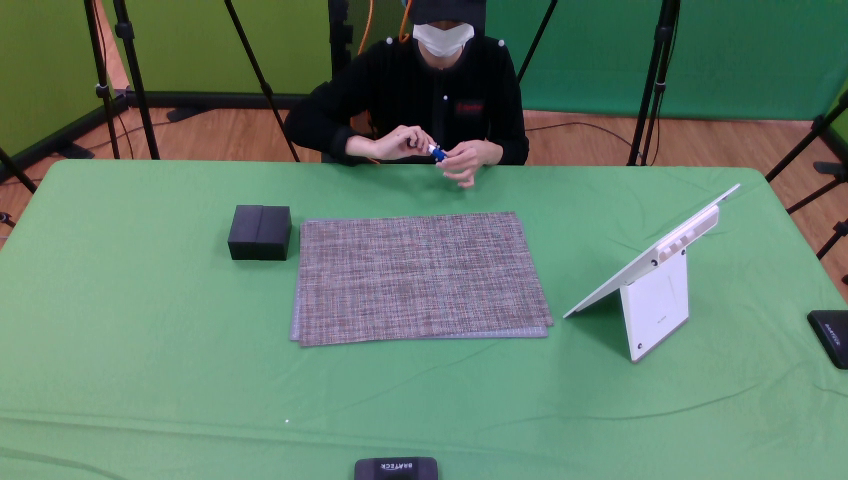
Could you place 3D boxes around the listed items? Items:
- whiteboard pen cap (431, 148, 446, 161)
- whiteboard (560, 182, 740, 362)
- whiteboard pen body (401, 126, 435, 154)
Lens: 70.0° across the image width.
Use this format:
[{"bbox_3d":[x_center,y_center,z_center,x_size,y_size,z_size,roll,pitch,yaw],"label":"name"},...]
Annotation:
[{"bbox_3d":[0.030,-0.181,1.271,0.018,0.018,0.033,-26,47,-26],"label":"whiteboard pen cap"},{"bbox_3d":[0.406,0.075,1.001,0.217,0.306,0.143,-28,73,-28],"label":"whiteboard"},{"bbox_3d":[-0.005,-0.212,1.309,0.017,0.017,0.140,-26,47,-26],"label":"whiteboard pen body"}]
